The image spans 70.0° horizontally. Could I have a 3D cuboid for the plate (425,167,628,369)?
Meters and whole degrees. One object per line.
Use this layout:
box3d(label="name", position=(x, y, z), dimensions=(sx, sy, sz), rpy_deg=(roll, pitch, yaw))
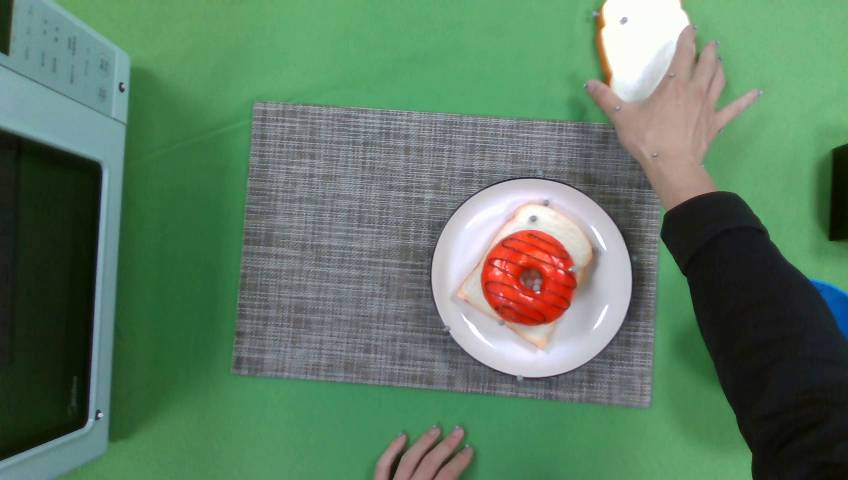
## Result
box3d(label="plate", position=(0.105, 0.029, 0.636), dimensions=(0.207, 0.039, 0.207), rpy_deg=(0, 88, 2))

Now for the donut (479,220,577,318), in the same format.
box3d(label="donut", position=(0.104, 0.029, 0.608), dimensions=(0.099, 0.048, 0.099), rpy_deg=(0, 88, 3))

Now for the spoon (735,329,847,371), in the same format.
box3d(label="spoon", position=(0.404, 0.110, 0.576), dimensions=(0.193, 0.022, 0.041), rpy_deg=(0, 80, 24))

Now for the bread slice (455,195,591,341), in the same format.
box3d(label="bread slice", position=(0.109, 0.022, 0.639), dimensions=(0.107, 0.018, 0.134), rpy_deg=(29, 92, 3))

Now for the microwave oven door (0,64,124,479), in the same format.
box3d(label="microwave oven door", position=(-0.351, 0.039, 0.535), dimensions=(0.039, 0.244, 0.355), rpy_deg=(2, 88, 3))

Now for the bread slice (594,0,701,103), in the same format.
box3d(label="bread slice", position=(0.237, -0.220, 0.655), dimensions=(0.105, 0.019, 0.131), rpy_deg=(-10, 89, 0))

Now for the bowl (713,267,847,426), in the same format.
box3d(label="bowl", position=(0.356, 0.103, 0.609), dimensions=(0.151, 0.077, 0.151), rpy_deg=(0, 87, 1))

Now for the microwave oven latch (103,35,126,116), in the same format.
box3d(label="microwave oven latch", position=(-0.336, -0.174, 0.643), dimensions=(0.030, 0.029, 0.079), rpy_deg=(3, 89, 2))

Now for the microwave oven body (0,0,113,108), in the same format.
box3d(label="microwave oven body", position=(-0.495, -0.008, 0.546), dimensions=(0.326, 0.260, 0.441), rpy_deg=(2, 89, 1))
